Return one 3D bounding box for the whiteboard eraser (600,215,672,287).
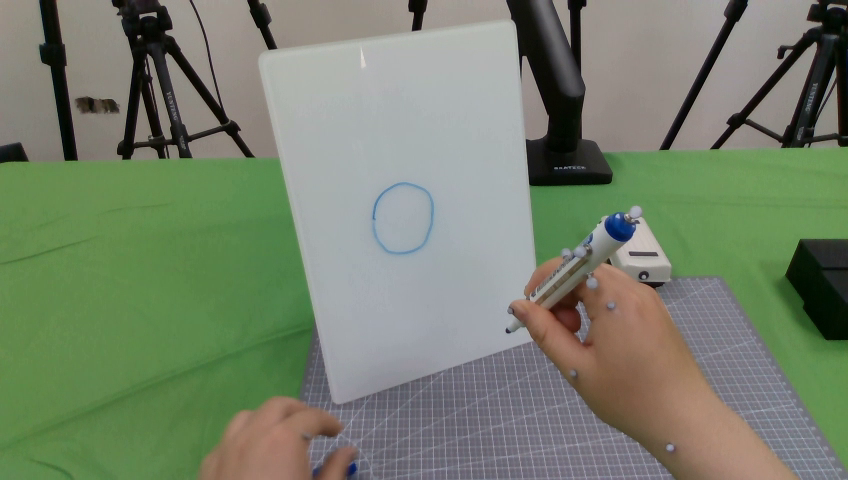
[{"bbox_3d":[0.238,0.012,0.692,0.055,0.042,0.111,-1,32,2],"label":"whiteboard eraser"}]

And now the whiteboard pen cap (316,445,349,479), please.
[{"bbox_3d":[-0.072,0.179,0.474,0.018,0.018,0.033,10,53,15],"label":"whiteboard pen cap"}]

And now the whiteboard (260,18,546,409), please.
[{"bbox_3d":[-0.023,-0.035,0.583,0.218,0.307,0.142,-14,19,-17],"label":"whiteboard"}]

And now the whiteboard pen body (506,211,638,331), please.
[{"bbox_3d":[0.077,0.025,0.349,0.017,0.141,0.017,9,58,-14],"label":"whiteboard pen body"}]
